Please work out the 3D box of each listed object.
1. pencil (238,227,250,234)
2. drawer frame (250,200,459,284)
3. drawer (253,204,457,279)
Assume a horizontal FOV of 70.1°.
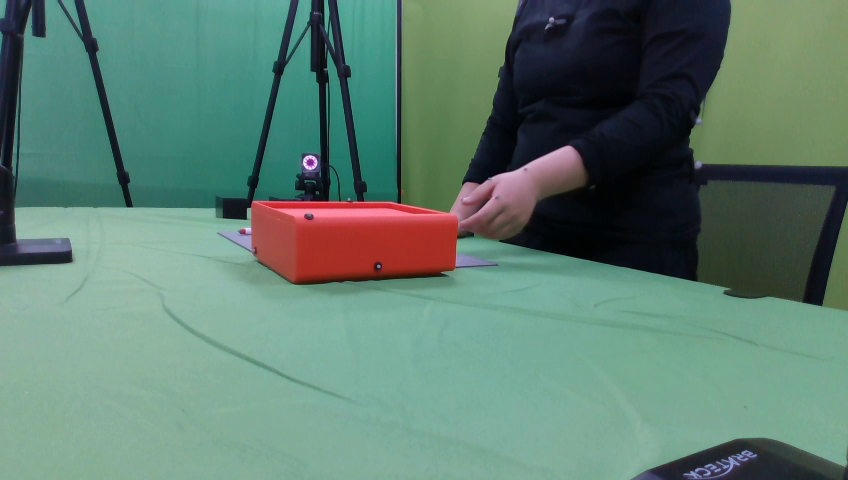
[{"bbox_3d":[-0.240,-0.015,1.105,0.195,0.012,0.012,1,7,-30],"label":"pencil"},{"bbox_3d":[-0.095,-0.005,0.788,0.215,0.082,0.200,-3,10,-30],"label":"drawer frame"},{"bbox_3d":[-0.095,-0.004,0.790,0.213,0.073,0.193,-3,10,-30],"label":"drawer"}]
